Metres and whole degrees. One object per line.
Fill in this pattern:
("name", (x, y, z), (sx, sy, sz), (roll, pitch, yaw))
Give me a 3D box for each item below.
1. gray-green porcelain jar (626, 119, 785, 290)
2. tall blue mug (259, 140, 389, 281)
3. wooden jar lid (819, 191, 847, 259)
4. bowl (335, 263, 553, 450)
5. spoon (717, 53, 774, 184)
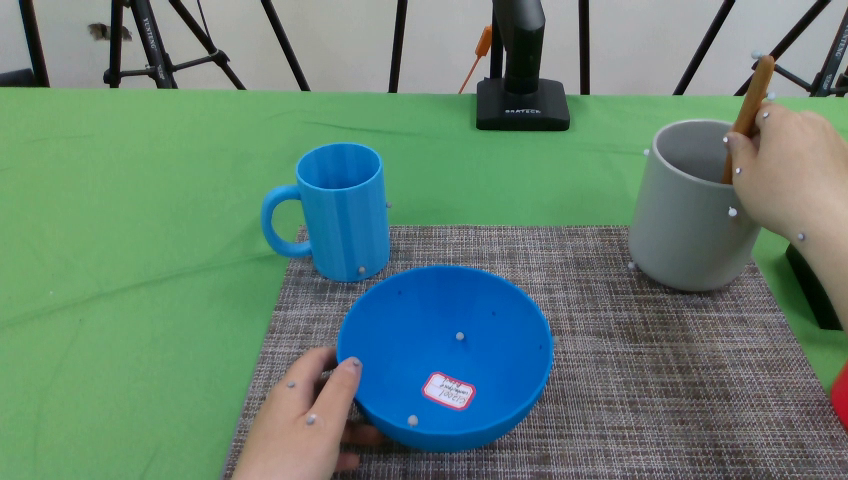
("gray-green porcelain jar", (0.242, -0.027, 0.540), (0.106, 0.127, 0.105), (-1, 41, 1))
("tall blue mug", (-0.086, -0.019, 0.553), (0.107, 0.109, 0.077), (-31, 50, -30))
("wooden jar lid", (0.398, -0.004, 0.520), (0.108, 0.021, 0.107), (-1, 41, 1))
("bowl", (0.014, 0.095, 0.442), (0.151, 0.077, 0.150), (-1, 41, 1))
("spoon", (0.248, -0.064, 0.485), (0.021, 0.196, 0.041), (-22, 52, -2))
